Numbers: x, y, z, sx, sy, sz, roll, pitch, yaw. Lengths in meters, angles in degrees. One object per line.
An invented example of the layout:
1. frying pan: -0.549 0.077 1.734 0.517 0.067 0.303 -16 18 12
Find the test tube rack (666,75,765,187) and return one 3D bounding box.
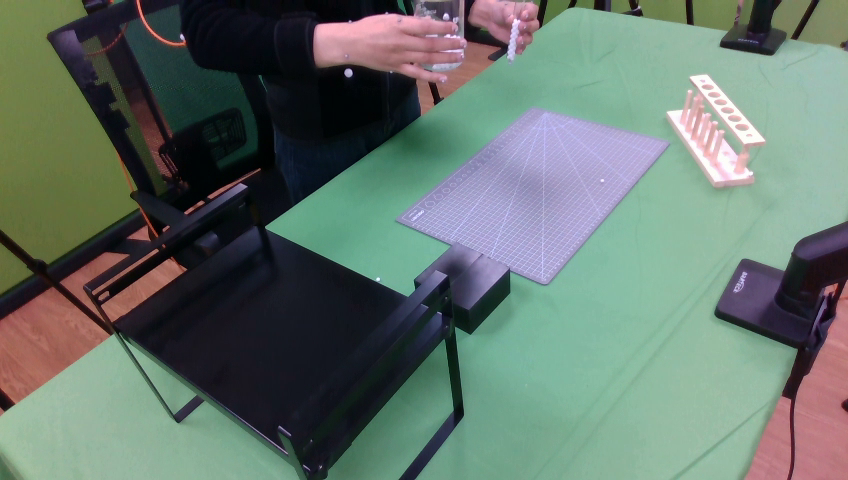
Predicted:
1. test tube rack: 0.512 -0.201 1.082 0.067 0.085 0.241 -6 41 2

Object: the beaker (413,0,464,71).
1. beaker: 0.023 -0.299 0.854 0.084 0.100 0.073 -23 43 -24

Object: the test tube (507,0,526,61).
1. test tube: 0.152 -0.362 0.981 0.017 0.150 0.017 3 44 -2
